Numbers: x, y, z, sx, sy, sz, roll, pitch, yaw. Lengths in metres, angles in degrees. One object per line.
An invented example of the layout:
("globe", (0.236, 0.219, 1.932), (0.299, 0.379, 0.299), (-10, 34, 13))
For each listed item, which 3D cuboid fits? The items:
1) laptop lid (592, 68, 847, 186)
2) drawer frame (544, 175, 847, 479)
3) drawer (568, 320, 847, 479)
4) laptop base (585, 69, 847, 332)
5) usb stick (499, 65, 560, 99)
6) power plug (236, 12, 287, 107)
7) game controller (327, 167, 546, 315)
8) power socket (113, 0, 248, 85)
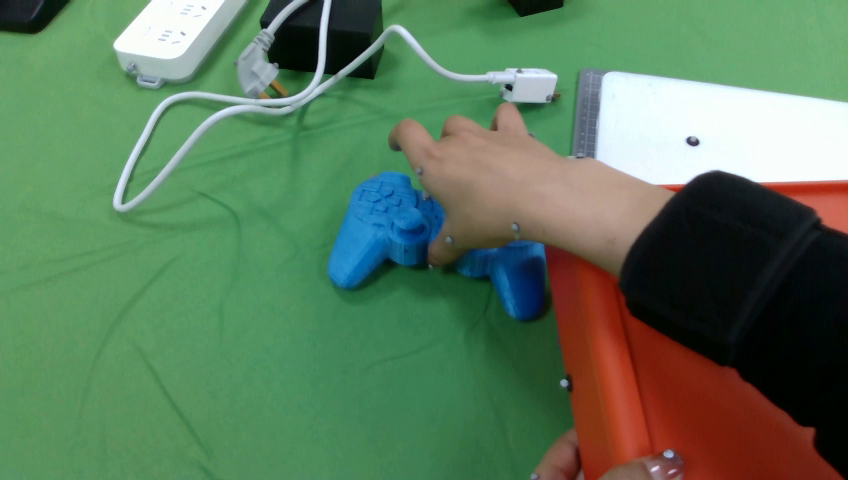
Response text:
("laptop lid", (0.306, -0.032, 0.462), (0.356, 0.013, 0.240), (11, 57, 7))
("drawer frame", (0.185, 0.074, 0.339), (0.202, 0.083, 0.211), (-3, 60, -3))
("drawer", (0.188, 0.146, 0.301), (0.195, 0.074, 0.209), (-1, 59, -4))
("laptop base", (0.307, -0.027, 0.473), (0.354, 0.023, 0.233), (10, 58, 6))
("usb stick", (0.097, -0.141, 0.540), (0.059, 0.027, 0.021), (-4, 31, -30))
("power plug", (-0.131, -0.154, 0.528), (0.072, 0.053, 0.035), (-43, 31, 4))
("game controller", (0.013, -0.006, 0.437), (0.155, 0.052, 0.096), (10, 51, 6))
("power socket", (-0.225, -0.240, 0.607), (0.072, 0.033, 0.225), (13, 55, 7))
